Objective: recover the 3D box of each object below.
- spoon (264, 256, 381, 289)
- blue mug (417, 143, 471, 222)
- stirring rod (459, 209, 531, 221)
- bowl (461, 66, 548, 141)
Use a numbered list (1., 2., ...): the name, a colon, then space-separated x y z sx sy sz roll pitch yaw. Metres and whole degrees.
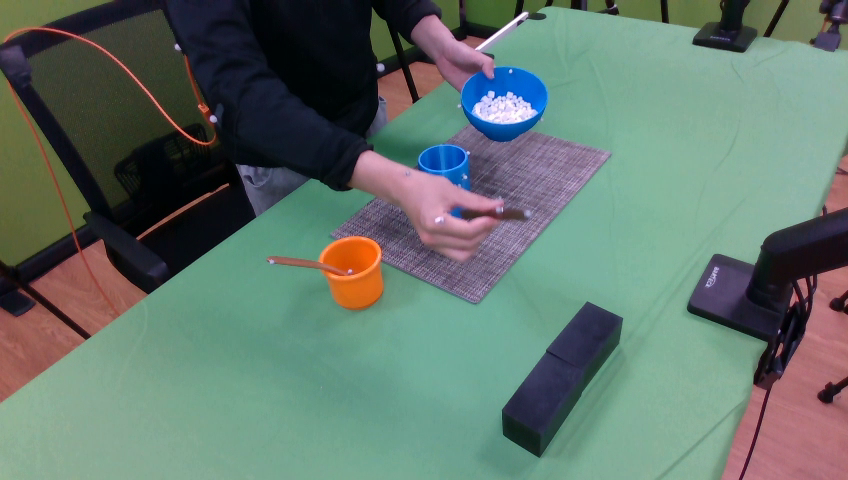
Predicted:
1. spoon: -0.136 0.041 0.842 0.021 0.195 0.041 -56 46 13
2. blue mug: 0.031 -0.104 1.014 0.082 0.106 0.115 -14 41 -7
3. stirring rod: 0.079 -0.030 0.719 0.006 0.014 0.175 -40 15 -14
4. bowl: 0.139 -0.227 1.061 0.151 0.077 0.150 -1 54 2
